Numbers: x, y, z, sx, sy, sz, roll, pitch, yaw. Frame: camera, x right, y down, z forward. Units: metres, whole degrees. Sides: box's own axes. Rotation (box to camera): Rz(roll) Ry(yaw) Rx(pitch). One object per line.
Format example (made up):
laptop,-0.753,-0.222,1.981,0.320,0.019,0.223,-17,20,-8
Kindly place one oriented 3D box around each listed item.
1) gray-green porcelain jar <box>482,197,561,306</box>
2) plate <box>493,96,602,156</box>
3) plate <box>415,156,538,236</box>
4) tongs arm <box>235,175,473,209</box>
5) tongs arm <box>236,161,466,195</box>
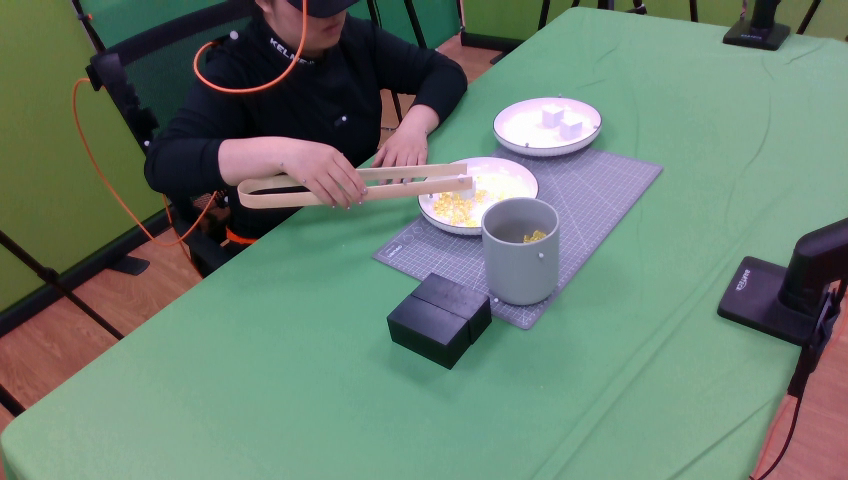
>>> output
gray-green porcelain jar,0.138,0.020,0.846,0.106,0.127,0.105,-5,40,5
plate,0.238,-0.218,1.179,0.209,0.038,0.208,-4,39,4
plate,0.090,-0.072,1.034,0.207,0.039,0.206,-5,40,5
tongs arm,-0.111,-0.086,0.998,0.386,0.026,0.050,-8,39,-10
tongs arm,-0.116,-0.105,1.024,0.389,0.028,0.028,-7,42,-9
